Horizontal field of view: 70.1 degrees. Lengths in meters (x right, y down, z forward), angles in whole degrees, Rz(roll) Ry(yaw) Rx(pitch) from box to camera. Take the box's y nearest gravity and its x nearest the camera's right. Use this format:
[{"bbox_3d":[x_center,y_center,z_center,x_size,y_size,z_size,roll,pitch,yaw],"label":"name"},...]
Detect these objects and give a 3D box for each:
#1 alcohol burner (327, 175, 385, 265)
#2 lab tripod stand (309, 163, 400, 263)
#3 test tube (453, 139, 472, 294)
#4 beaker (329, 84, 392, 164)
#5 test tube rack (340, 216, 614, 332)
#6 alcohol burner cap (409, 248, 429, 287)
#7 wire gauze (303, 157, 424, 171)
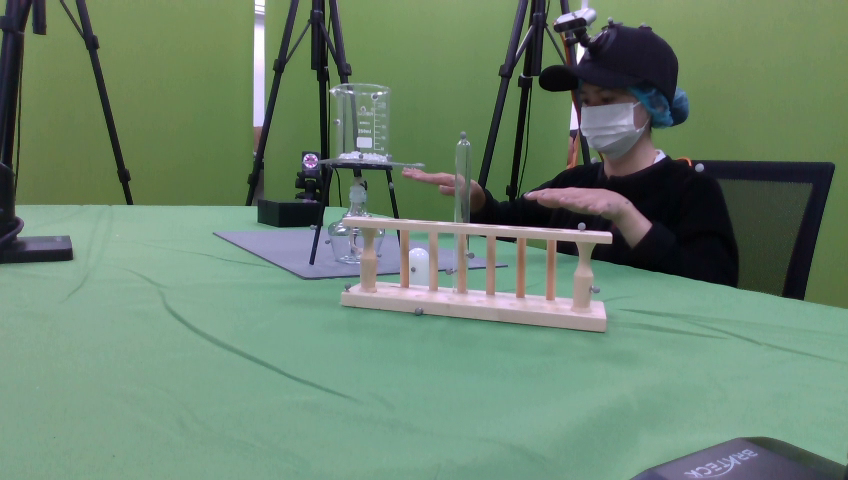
[{"bbox_3d":[-0.090,-0.027,0.811,0.078,0.119,0.078,3,5,0],"label":"alcohol burner"},{"bbox_3d":[-0.091,-0.037,0.813,0.148,0.131,0.148,1,6,0],"label":"lab tripod stand"},{"bbox_3d":[0.037,-0.021,0.584,0.017,0.150,0.017,1,7,0],"label":"test tube"},{"bbox_3d":[-0.084,-0.149,0.794,0.084,0.100,0.073,-1,6,-23],"label":"beaker"},{"bbox_3d":[0.048,0.026,0.568,0.242,0.085,0.067,4,8,13],"label":"test tube rack"},{"bbox_3d":[-0.008,0.032,0.674,0.034,0.048,0.034,3,6,0],"label":"alcohol burner cap"},{"bbox_3d":[-0.082,-0.102,0.799,0.126,0.011,0.121,1,7,-30],"label":"wire gauze"}]
